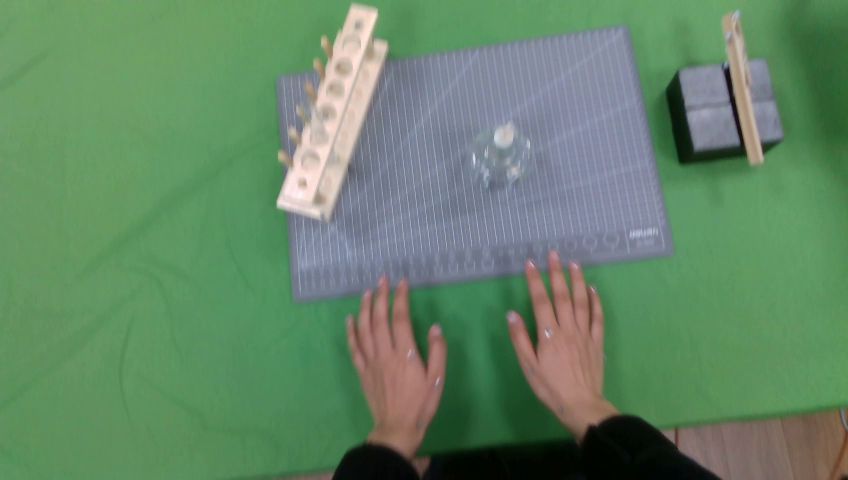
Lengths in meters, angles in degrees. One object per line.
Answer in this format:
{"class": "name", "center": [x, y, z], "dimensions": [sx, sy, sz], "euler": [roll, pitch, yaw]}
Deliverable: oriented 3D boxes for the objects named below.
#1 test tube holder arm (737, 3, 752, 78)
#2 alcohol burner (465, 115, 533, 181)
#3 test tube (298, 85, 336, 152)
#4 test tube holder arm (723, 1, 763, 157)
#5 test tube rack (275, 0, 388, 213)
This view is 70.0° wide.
{"class": "test tube holder arm", "center": [0.354, -0.223, 0.680], "dimensions": [0.010, 0.015, 0.087], "euler": [3, 78, -29]}
{"class": "alcohol burner", "center": [0.085, -0.109, 0.677], "dimensions": [0.078, 0.119, 0.077], "euler": [-1, 78, 3]}
{"class": "test tube", "center": [-0.114, -0.128, 0.659], "dimensions": [0.017, 0.151, 0.017], "euler": [0, 77, 1]}
{"class": "test tube holder arm", "center": [0.352, -0.179, 0.669], "dimensions": [0.013, 0.015, 0.177], "euler": [2, 79, -29]}
{"class": "test tube rack", "center": [-0.116, -0.163, 0.716], "dimensions": [0.066, 0.085, 0.241], "euler": [17, 81, 8]}
